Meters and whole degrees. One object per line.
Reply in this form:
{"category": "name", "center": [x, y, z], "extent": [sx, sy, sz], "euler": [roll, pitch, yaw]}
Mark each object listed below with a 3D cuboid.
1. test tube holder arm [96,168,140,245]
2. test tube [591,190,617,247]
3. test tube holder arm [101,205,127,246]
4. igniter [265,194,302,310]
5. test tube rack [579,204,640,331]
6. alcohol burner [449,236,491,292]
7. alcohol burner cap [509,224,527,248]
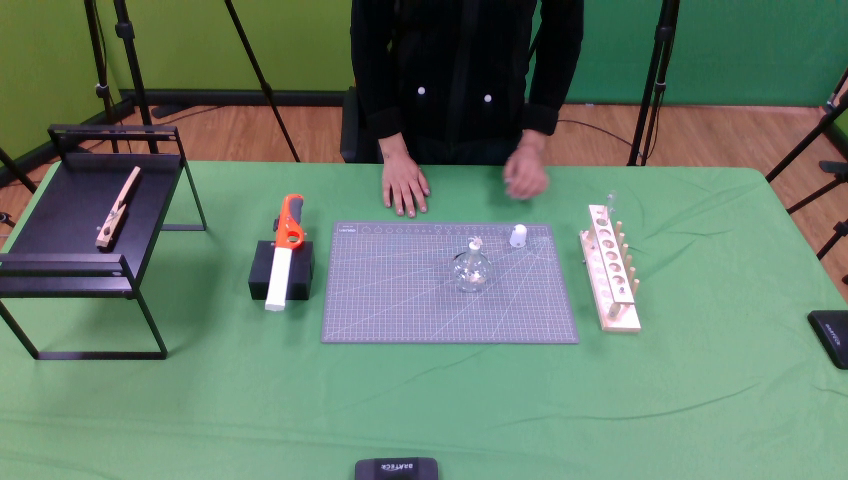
{"category": "test tube holder arm", "center": [-0.486, -0.058, 0.968], "extent": [0.013, 0.015, 0.177], "euler": [27, 37, -27]}
{"category": "test tube", "center": [0.340, -0.038, 1.149], "extent": [0.017, 0.151, 0.017], "euler": [1, 50, -1]}
{"category": "test tube holder arm", "center": [-0.480, -0.024, 0.938], "extent": [0.010, 0.015, 0.087], "euler": [27, 37, -26]}
{"category": "igniter", "center": [-0.253, 0.011, 1.099], "extent": [0.057, 0.025, 0.274], "euler": [9, 46, -12]}
{"category": "test tube rack", "center": [0.353, 0.047, 1.137], "extent": [0.067, 0.085, 0.241], "euler": [2, 46, -2]}
{"category": "alcohol burner", "center": [0.086, 0.038, 1.101], "extent": [0.078, 0.119, 0.077], "euler": [3, 44, -2]}
{"category": "alcohol burner cap", "center": [0.189, -0.011, 1.206], "extent": [0.034, 0.048, 0.033], "euler": [2, 46, -1]}
